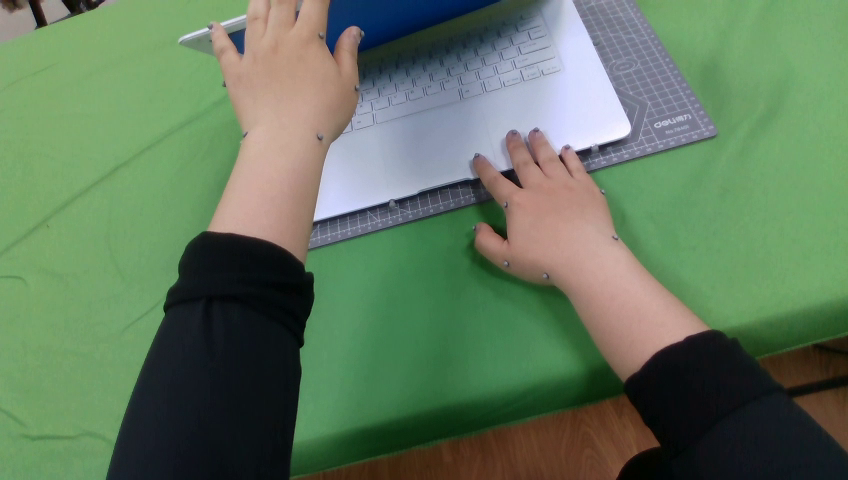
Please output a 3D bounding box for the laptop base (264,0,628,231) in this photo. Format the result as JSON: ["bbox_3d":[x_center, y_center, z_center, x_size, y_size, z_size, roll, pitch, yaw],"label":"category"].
[{"bbox_3d":[0.002,-0.139,0.630,0.354,0.023,0.233,-15,55,6],"label":"laptop base"}]

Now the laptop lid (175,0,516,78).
[{"bbox_3d":[-0.027,-0.222,0.579,0.356,0.241,0.013,-15,97,8],"label":"laptop lid"}]
